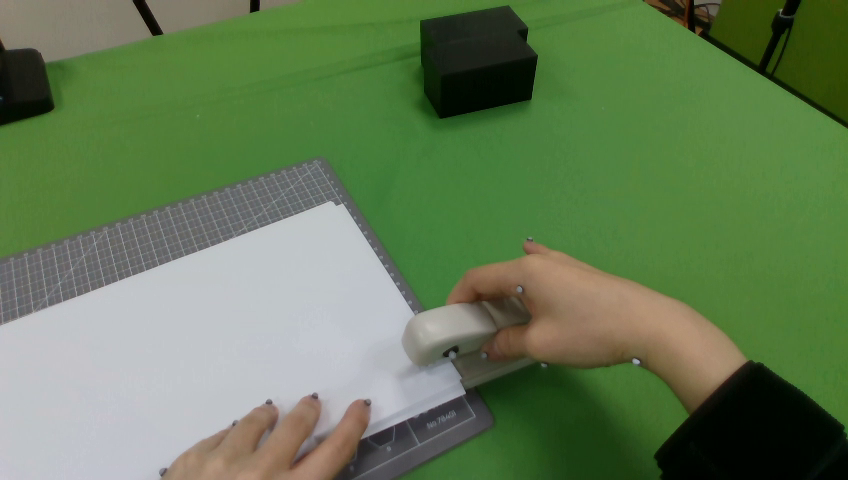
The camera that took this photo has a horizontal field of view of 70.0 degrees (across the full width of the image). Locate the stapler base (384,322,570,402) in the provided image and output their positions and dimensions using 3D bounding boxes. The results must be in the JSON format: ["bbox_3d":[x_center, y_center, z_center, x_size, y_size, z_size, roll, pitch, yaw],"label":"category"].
[{"bbox_3d":[0.038,0.069,0.410,0.131,0.024,0.041,-16,53,-18],"label":"stapler base"}]

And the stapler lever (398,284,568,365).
[{"bbox_3d":[0.040,0.050,0.392,0.118,0.040,0.026,-15,52,-19],"label":"stapler lever"}]
